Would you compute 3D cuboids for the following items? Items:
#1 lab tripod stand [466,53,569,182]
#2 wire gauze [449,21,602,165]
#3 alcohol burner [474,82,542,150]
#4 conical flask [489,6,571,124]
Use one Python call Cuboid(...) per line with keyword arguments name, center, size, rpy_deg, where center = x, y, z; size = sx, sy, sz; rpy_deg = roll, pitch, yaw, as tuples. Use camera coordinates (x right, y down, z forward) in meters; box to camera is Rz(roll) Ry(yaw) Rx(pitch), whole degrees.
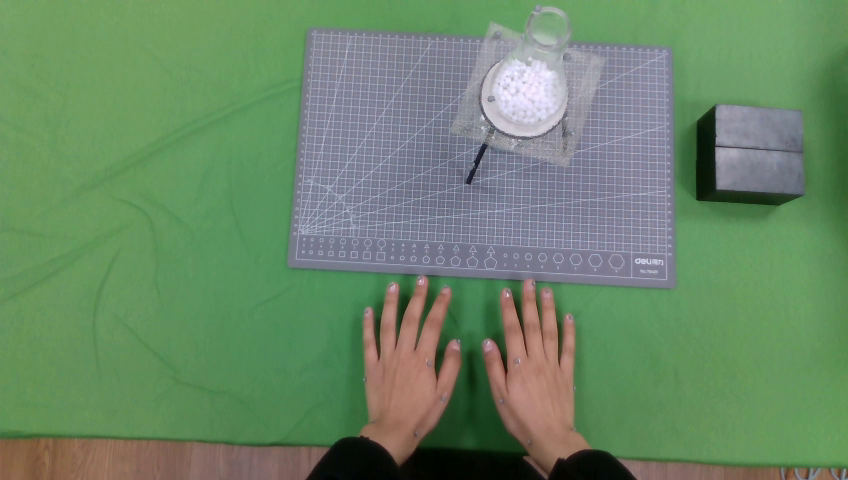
Cuboid(name="lab tripod stand", center=(0.096, -0.136, 0.663), size=(0.148, 0.132, 0.148), rpy_deg=(0, 80, 1))
Cuboid(name="wire gauze", center=(0.102, -0.145, 0.597), size=(0.121, 0.011, 0.124), rpy_deg=(20, 79, 2))
Cuboid(name="alcohol burner", center=(0.095, -0.145, 0.674), size=(0.078, 0.119, 0.077), rpy_deg=(0, 81, 1))
Cuboid(name="conical flask", center=(0.100, -0.159, 0.540), size=(0.075, 0.122, 0.075), rpy_deg=(0, 80, 0))
